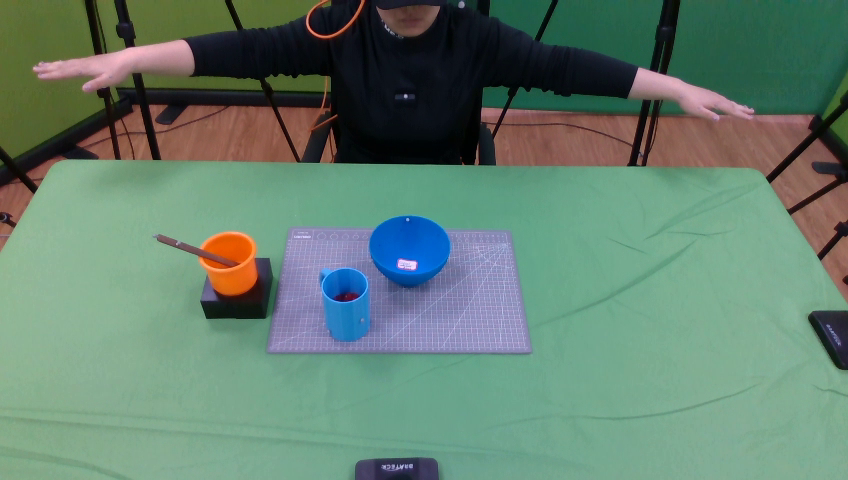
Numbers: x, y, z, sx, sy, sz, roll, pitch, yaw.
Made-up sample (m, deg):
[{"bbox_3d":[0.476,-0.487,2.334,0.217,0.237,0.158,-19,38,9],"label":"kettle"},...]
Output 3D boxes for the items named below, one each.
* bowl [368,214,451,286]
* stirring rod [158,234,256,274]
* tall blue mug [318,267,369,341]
[{"bbox_3d":[-0.028,0.031,1.122,0.151,0.077,0.150,2,46,-2],"label":"bowl"},{"bbox_3d":[-0.354,0.024,0.999,0.177,0.006,0.014,27,29,-40],"label":"stirring rod"},{"bbox_3d":[-0.146,0.104,1.022,0.107,0.108,0.077,19,49,14],"label":"tall blue mug"}]
